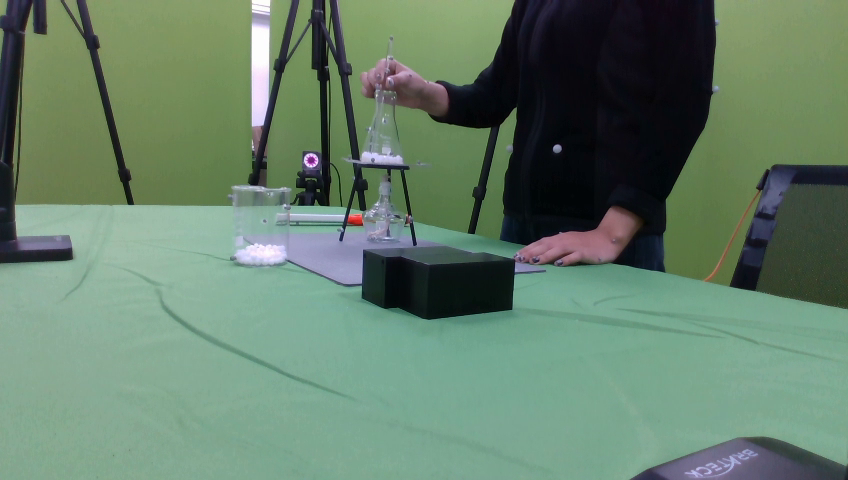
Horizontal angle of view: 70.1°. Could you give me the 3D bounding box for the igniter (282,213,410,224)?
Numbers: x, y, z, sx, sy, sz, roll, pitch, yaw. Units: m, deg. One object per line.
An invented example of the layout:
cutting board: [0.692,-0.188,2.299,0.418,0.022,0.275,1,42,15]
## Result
igniter: [-0.159,-0.046,1.287,0.278,0.025,0.057,-1,-2,-22]

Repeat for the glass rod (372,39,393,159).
glass rod: [-0.069,-0.234,1.005,0.008,0.199,0.008,9,5,0]

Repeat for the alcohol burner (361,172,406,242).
alcohol burner: [-0.067,-0.056,1.030,0.078,0.119,0.078,4,9,0]

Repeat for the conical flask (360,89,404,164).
conical flask: [-0.068,-0.189,1.011,0.075,0.122,0.075,4,6,0]

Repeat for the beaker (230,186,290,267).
beaker: [-0.209,-0.019,0.778,0.074,0.100,0.084,3,6,4]

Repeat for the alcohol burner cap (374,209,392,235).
alcohol burner cap: [-0.078,-0.036,1.148,0.034,0.048,0.034,2,7,0]

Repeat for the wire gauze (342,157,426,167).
wire gauze: [-0.065,-0.130,1.017,0.122,0.011,0.124,2,5,-27]

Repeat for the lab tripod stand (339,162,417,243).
lab tripod stand: [-0.067,-0.065,1.027,0.148,0.131,0.148,4,7,0]
